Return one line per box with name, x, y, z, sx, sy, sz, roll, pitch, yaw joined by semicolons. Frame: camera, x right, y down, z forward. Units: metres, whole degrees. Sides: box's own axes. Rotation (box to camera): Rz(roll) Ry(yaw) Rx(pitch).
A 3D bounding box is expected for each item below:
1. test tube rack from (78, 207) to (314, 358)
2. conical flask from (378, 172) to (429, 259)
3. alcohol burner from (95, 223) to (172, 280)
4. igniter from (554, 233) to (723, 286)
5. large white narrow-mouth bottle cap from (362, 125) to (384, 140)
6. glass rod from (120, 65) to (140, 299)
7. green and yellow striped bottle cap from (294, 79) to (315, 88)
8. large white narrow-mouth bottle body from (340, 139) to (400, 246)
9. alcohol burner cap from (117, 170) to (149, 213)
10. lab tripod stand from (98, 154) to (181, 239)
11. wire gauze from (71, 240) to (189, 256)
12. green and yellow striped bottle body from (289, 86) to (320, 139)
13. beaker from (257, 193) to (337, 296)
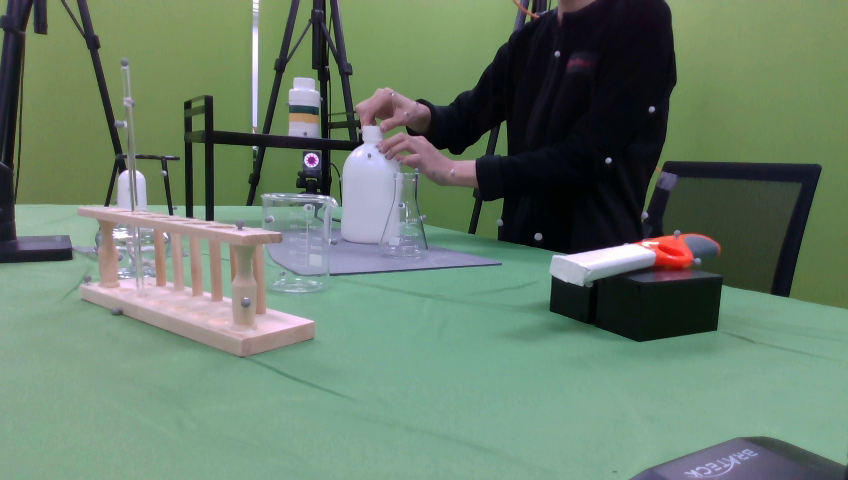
test tube rack;-0.196;0.024;0.500;0.241;0.085;0.067;8;8;37
conical flask;-0.027;-0.037;0.869;0.075;0.122;0.075;3;7;0
alcohol burner;-0.320;-0.016;0.667;0.078;0.119;0.078;0;7;0
igniter;0.214;0.015;0.570;0.278;0.025;0.057;-5;22;-44
large white narrow-mouth bottle cap;-0.084;-0.178;1.005;0.038;0.024;0.037;3;9;0
glass rod;-0.249;-0.047;0.513;0.008;0.199;0.008;-1;4;0
green and yellow striped bottle cap;-0.248;-0.323;1.256;0.045;0.020;0.045;4;8;0
large white narrow-mouth bottle body;-0.089;-0.093;1.020;0.102;0.194;0.101;3;9;0
alcohol burner cap;-0.320;-0.052;0.661;0.034;0.048;0.034;-3;0;0
lab tripod stand;-0.427;-0.066;0.942;0.148;0.131;0.148;1;6;0
wire gauze;-0.399;0.013;0.820;0.126;0.011;0.121;-3;8;-37
green and yellow striped bottle body;-0.250;-0.272;1.261;0.063;0.119;0.063;3;7;0
beaker;-0.130;0.004;0.628;0.084;0.100;0.074;5;8;15
